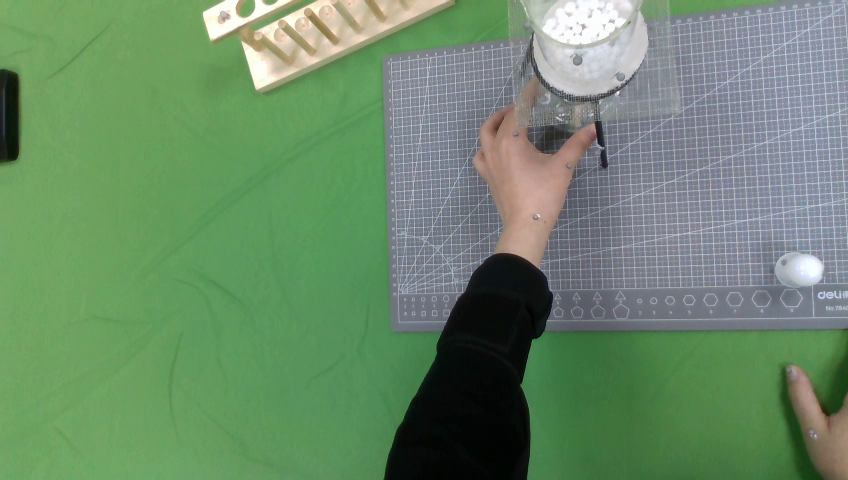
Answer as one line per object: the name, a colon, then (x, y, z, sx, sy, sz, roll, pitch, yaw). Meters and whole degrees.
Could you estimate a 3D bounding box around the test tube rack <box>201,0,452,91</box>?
test tube rack: (-0.101, -0.245, 0.635, 0.242, 0.085, 0.066, -20, 82, 14)

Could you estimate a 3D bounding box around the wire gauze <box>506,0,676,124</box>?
wire gauze: (0.128, -0.155, 0.472, 0.125, 0.011, 0.121, -3, 91, 13)

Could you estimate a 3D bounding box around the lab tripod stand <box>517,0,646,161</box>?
lab tripod stand: (0.145, -0.151, 0.535, 0.148, 0.132, 0.148, 0, 89, 14)

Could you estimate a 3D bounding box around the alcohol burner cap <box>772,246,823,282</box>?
alcohol burner cap: (0.326, 0.020, 0.526, 0.034, 0.048, 0.034, -1, 87, 15)

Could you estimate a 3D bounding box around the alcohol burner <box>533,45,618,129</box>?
alcohol burner: (0.137, -0.143, 0.548, 0.077, 0.119, 0.078, -1, 87, 14)

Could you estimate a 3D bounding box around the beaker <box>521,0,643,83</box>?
beaker: (0.109, -0.158, 0.427, 0.083, 0.100, 0.074, 11, 91, 16)
